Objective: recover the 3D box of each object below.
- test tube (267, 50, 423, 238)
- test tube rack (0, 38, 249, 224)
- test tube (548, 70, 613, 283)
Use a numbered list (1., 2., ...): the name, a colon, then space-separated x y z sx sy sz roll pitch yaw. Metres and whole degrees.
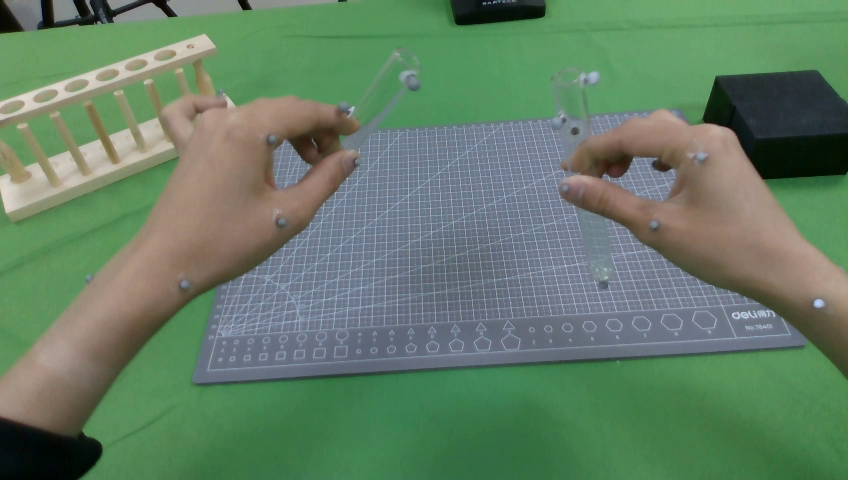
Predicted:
1. test tube: -0.050 -0.047 0.340 0.017 0.151 0.017 28 39 -25
2. test tube rack: -0.312 -0.114 0.609 0.242 0.086 0.066 -27 50 -20
3. test tube: 0.091 -0.027 0.345 0.017 0.152 0.017 -14 41 12
